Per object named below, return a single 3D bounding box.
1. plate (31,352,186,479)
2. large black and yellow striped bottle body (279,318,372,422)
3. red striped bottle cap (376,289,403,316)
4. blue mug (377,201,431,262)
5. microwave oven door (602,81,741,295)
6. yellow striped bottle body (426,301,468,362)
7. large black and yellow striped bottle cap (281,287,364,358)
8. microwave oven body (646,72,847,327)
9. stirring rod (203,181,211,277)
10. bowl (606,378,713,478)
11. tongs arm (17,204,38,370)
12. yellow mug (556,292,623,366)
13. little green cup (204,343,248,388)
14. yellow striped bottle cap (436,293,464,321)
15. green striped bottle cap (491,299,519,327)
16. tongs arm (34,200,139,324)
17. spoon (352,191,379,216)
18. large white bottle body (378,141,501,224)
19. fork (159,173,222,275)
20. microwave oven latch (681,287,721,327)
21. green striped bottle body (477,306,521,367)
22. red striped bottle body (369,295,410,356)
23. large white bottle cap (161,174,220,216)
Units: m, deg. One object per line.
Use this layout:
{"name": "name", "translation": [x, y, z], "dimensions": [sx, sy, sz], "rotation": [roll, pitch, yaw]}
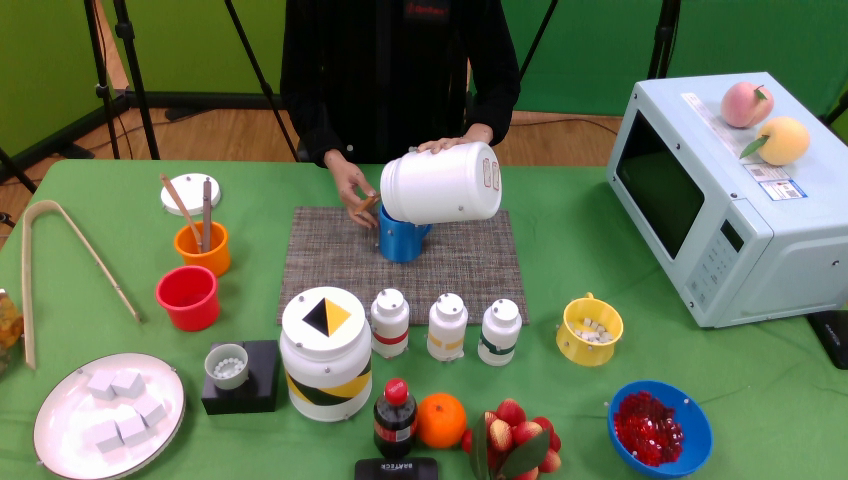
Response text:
{"name": "plate", "translation": [-0.459, 0.262, 0.898], "dimensions": [0.209, 0.038, 0.208], "rotation": [2, 46, -2]}
{"name": "large black and yellow striped bottle body", "translation": [-0.145, 0.173, 0.908], "dimensions": [0.131, 0.185, 0.130], "rotation": [2, 46, -2]}
{"name": "red striped bottle cap", "translation": [-0.054, 0.098, 0.958], "dimensions": [0.044, 0.018, 0.044], "rotation": [0, 48, 1]}
{"name": "blue mug", "translation": [-0.033, -0.028, 1.160], "dimensions": [0.116, 0.106, 0.082], "rotation": [-22, 52, -23]}
{"name": "microwave oven door", "translation": [0.456, -0.107, 1.162], "dimensions": [0.039, 0.245, 0.353], "rotation": [-7, 47, -11]}
{"name": "yellow striped bottle body", "translation": [0.037, 0.142, 0.996], "dimensions": [0.063, 0.121, 0.062], "rotation": [3, 46, -3]}
{"name": "large black and yellow striped bottle cap", "translation": [-0.141, 0.112, 0.847], "dimensions": [0.115, 0.019, 0.114], "rotation": [5, 45, -4]}
{"name": "microwave oven body", "translation": [0.607, -0.089, 1.164], "dimensions": [0.326, 0.261, 0.438], "rotation": [-7, 46, -10]}
{"name": "stirring rod", "translation": [-0.396, -0.021, 1.107], "dimensions": [0.014, 0.006, 0.176], "rotation": [-1, 89, -1]}
{"name": "bowl", "translation": [0.340, 0.292, 0.906], "dimensions": [0.151, 0.077, 0.150], "rotation": [2, 46, -2]}
{"name": "tongs arm", "translation": [-0.698, 0.069, 1.069], "dimensions": [0.028, 0.028, 0.385], "rotation": [-20, 50, -13]}
{"name": "yellow mug", "translation": [0.285, 0.145, 1.051], "dimensions": [0.100, 0.064, 0.130], "rotation": [7, 45, 3]}
{"name": "little green cup", "translation": [-0.294, 0.190, 0.909], "dimensions": [0.061, 0.039, 0.061], "rotation": [1, 48, 0]}
{"name": "yellow striped bottle cap", "translation": [0.041, 0.106, 0.959], "dimensions": [0.044, 0.019, 0.044], "rotation": [-1, 50, 1]}
{"name": "green striped bottle cap", "translation": [0.128, 0.115, 0.958], "dimensions": [0.044, 0.020, 0.044], "rotation": [1, 47, -1]}
{"name": "tongs arm", "translation": [-0.622, 0.034, 1.105], "dimensions": [0.051, 0.026, 0.382], "rotation": [-32, 56, -26]}
{"name": "spoon", "translation": [-0.092, -0.083, 1.151], "dimensions": [0.041, 0.022, 0.193], "rotation": [6, 21, 20]}
{"name": "large white bottle body", "translation": [0.026, -0.095, 1.048], "dimensions": [0.184, 0.131, 0.130], "rotation": [-4, 41, 27]}
{"name": "fork", "translation": [-0.427, -0.029, 1.103], "dimensions": [0.028, 0.018, 0.207], "rotation": [-31, 99, -30]}
{"name": "microwave oven latch", "translation": [0.494, 0.119, 1.087], "dimensions": [0.030, 0.029, 0.078], "rotation": [-6, 46, -9]}
{"name": "green striped bottle body", "translation": [0.124, 0.151, 0.995], "dimensions": [0.063, 0.120, 0.063], "rotation": [2, 46, -1]}
{"name": "red striped bottle body", "translation": [-0.059, 0.135, 0.997], "dimensions": [0.063, 0.120, 0.062], "rotation": [6, 49, -6]}
{"name": "large white bottle cap", "translation": [-0.483, -0.095, 1.253], "dimensions": [0.115, 0.018, 0.114], "rotation": [2, 46, -2]}
